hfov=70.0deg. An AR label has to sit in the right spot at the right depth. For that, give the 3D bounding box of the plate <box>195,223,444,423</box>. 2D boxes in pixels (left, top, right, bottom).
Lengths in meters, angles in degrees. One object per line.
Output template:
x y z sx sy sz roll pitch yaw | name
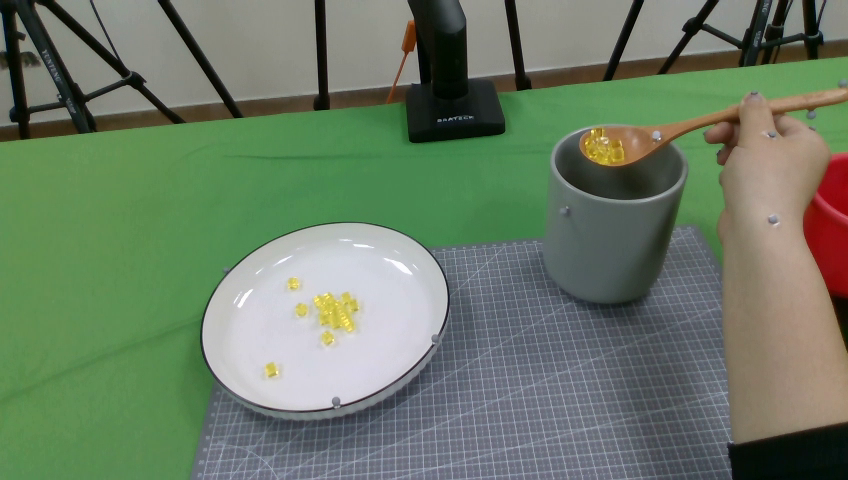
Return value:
-0.085 0.068 0.519 0.207 0.039 0.205 -2 43 3 | plate

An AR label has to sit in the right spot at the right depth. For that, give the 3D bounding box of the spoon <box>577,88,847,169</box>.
0.213 -0.086 0.453 0.193 0.022 0.041 -13 52 15 | spoon

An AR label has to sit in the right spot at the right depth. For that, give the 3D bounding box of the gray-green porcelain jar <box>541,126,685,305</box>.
0.155 -0.016 0.518 0.106 0.128 0.105 -3 43 3 | gray-green porcelain jar
